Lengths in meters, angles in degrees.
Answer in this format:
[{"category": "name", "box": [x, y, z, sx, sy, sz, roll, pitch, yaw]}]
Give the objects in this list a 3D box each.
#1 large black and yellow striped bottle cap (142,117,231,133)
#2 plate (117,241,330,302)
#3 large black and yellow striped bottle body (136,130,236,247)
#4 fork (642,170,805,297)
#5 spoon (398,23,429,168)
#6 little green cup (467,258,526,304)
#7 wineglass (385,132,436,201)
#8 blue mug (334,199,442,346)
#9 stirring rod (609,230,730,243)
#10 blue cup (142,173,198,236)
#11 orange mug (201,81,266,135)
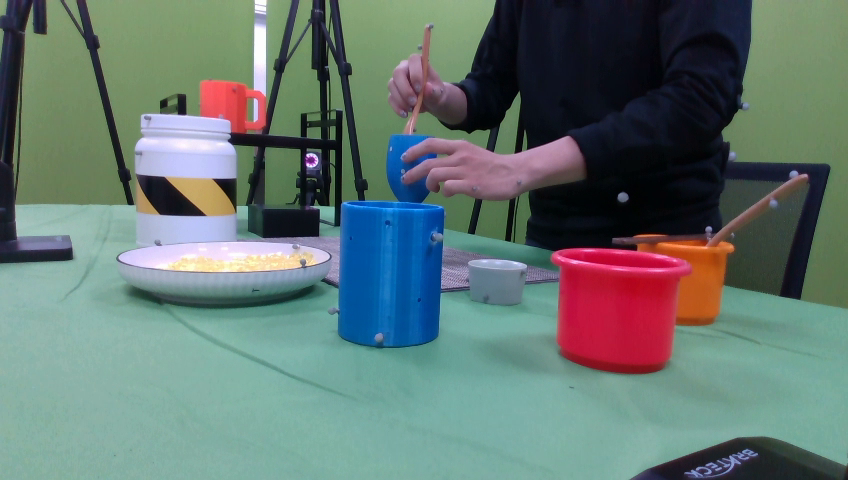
[{"category": "large black and yellow striped bottle cap", "box": [-0.328, -0.159, 0.839, 0.115, 0.019, 0.115, 1, 9, 0]}, {"category": "plate", "box": [-0.203, 0.031, 0.629, 0.209, 0.038, 0.209, 3, 7, 0]}, {"category": "large black and yellow striped bottle body", "box": [-0.332, -0.076, 0.851, 0.131, 0.184, 0.130, 3, 8, 0]}, {"category": "fork", "box": [0.261, 0.004, 0.545, 0.028, 0.018, 0.207, 5, -37, -15]}, {"category": "spoon", "box": [-0.011, -0.194, 0.820, 0.022, 0.193, 0.041, 11, 4, -15]}, {"category": "little green cup", "box": [0.074, 0.042, 0.625, 0.061, 0.038, 0.061, 3, 7, 0]}, {"category": "wineglass", "box": [-0.020, -0.061, 0.842, 0.074, 0.172, 0.073, 2, 7, 0]}, {"category": "blue mug", "box": [-0.034, 0.020, 0.498, 0.083, 0.106, 0.116, 0, 7, -20]}, {"category": "stirring rod", "box": [0.241, -0.004, 0.582, 0.177, 0.006, 0.014, -3, 9, -33]}, {"category": "blue cup", "box": [-0.425, -0.060, 1.014, 0.093, 0.100, 0.092, 4, 9, 0]}, {"category": "orange mug", "box": [-0.377, -0.260, 1.198, 0.126, 0.101, 0.083, -3, 8, -6]}]
